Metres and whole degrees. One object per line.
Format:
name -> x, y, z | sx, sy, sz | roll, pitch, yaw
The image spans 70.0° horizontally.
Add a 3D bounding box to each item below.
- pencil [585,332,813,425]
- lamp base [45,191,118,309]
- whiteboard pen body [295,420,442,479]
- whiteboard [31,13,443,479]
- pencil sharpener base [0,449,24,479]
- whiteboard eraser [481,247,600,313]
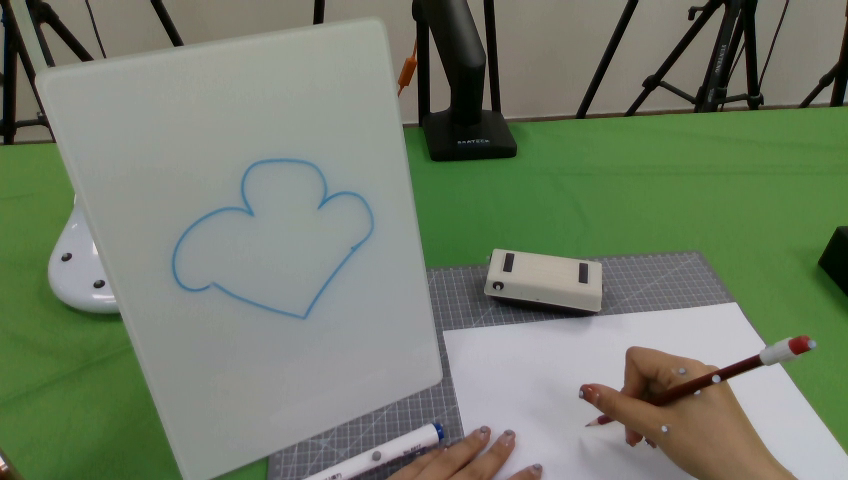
pencil -> 0.172, 0.101, 0.411 | 0.012, 0.194, 0.012 | 14, 55, -21
lamp base -> -0.316, -0.050, 0.593 | 0.178, 0.182, 0.160 | 22, 44, 28
whiteboard pen body -> -0.051, 0.167, 0.452 | 0.141, 0.017, 0.017 | -18, 42, -20
whiteboard -> -0.130, -0.004, 0.489 | 0.218, 0.307, 0.142 | -18, 23, -20
pencil sharpener base -> -0.288, 0.174, 0.374 | 0.061, 0.108, 0.076 | 30, 47, 30
whiteboard eraser -> 0.116, 0.040, 0.600 | 0.112, 0.042, 0.055 | 8, 40, 9
